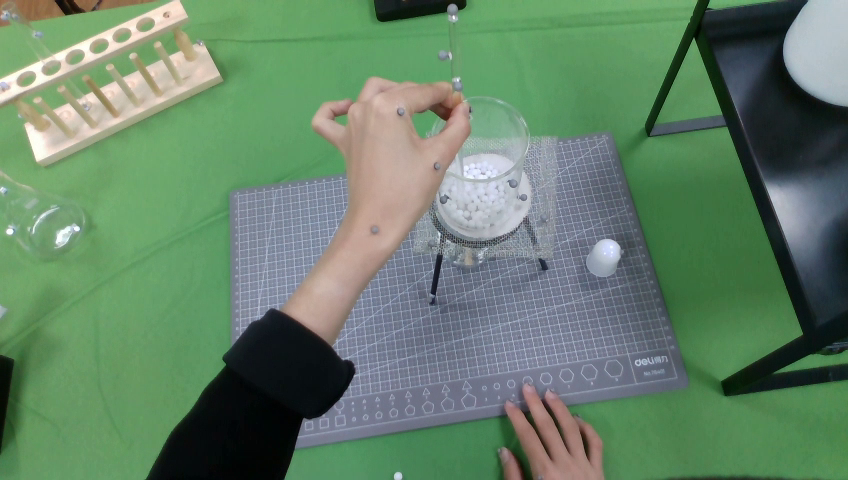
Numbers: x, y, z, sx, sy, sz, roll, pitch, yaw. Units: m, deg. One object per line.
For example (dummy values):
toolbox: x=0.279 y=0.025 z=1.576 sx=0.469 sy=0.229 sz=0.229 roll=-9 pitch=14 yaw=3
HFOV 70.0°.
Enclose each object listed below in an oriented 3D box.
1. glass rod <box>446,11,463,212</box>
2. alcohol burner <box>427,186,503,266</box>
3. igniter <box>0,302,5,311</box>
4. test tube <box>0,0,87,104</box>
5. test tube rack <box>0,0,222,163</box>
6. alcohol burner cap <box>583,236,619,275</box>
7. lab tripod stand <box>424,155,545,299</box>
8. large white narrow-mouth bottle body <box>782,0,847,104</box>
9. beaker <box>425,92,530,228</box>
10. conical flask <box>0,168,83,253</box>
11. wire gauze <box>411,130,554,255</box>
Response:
glass rod: x=0.023 y=-0.081 z=0.446 sx=0.008 sy=0.201 sz=0.008 roll=-2 pitch=57 yaw=4
alcohol burner: x=0.041 y=-0.020 z=0.611 sx=0.078 sy=0.120 sz=0.077 roll=-1 pitch=65 yaw=2
igniter: x=-0.495 y=0.174 z=0.565 sx=0.057 sy=0.025 sz=0.275 roll=18 pitch=68 yaw=21
test tube: x=-0.429 y=-0.209 z=0.687 sx=0.017 sy=0.151 sz=0.017 roll=-2 pitch=60 yaw=3
test tube rack: x=-0.382 y=-0.192 z=0.731 sx=0.242 sy=0.086 sz=0.066 roll=-28 pitch=68 yaw=-8
alcohol burner cap: x=0.185 y=0.013 z=0.626 sx=0.034 sy=0.048 sz=0.033 roll=-1 pitch=66 yaw=4
lab tripod stand: x=0.053 y=-0.013 z=0.597 sx=0.148 sy=0.132 sz=0.147 roll=-1 pitch=66 yaw=2
large white narrow-mouth bottle body: x=0.343 y=-0.188 z=0.425 sx=0.102 sy=0.196 sz=0.101 roll=-2 pitch=67 yaw=5
beaker: x=0.041 y=-0.057 z=0.492 sx=0.084 sy=0.101 sz=0.073 roll=-31 pitch=69 yaw=-9
conical flask: x=-0.435 y=-0.041 z=0.651 sx=0.075 sy=0.123 sz=0.075 roll=-2 pitch=66 yaw=4
wire gauze: x=0.054 y=-0.044 z=0.538 sx=0.121 sy=0.011 sz=0.124 roll=5 pitch=66 yaw=3
